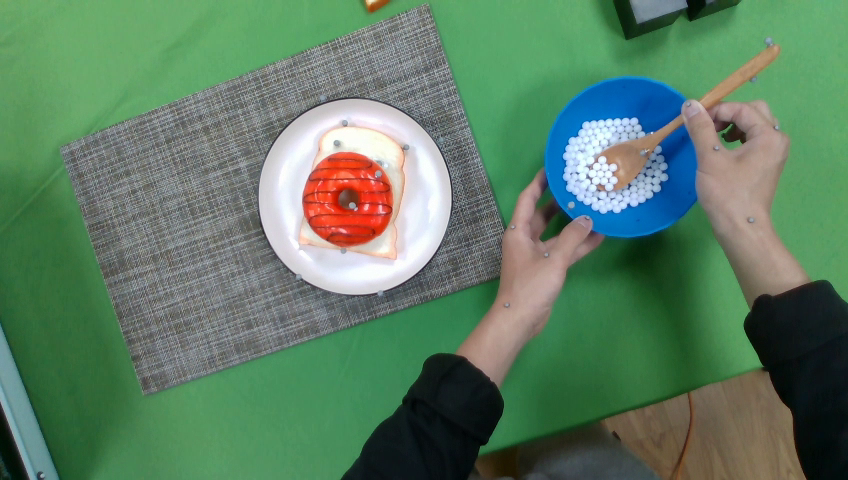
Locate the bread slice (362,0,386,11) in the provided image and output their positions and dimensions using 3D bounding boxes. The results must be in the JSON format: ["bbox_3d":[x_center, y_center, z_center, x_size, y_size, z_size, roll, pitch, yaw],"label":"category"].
[{"bbox_3d":[-0.053,-0.327,0.645,0.105,0.019,0.131,-33,90,5],"label":"bread slice"}]

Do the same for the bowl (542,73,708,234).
[{"bbox_3d":[0.190,-0.080,0.599,0.151,0.077,0.151,0,91,7],"label":"bowl"}]

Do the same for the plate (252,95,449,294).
[{"bbox_3d":[-0.076,-0.046,0.645,0.207,0.039,0.207,0,92,6],"label":"plate"}]

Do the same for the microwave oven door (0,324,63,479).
[{"bbox_3d":[-0.495,0.147,0.578,0.039,0.244,0.355,-21,90,6],"label":"microwave oven door"}]

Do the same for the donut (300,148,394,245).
[{"bbox_3d":[-0.078,-0.044,0.617,0.099,0.048,0.099,0,93,6],"label":"donut"}]

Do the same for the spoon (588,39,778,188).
[{"bbox_3d":[0.230,-0.110,0.552,0.194,0.021,0.041,-40,83,40],"label":"spoon"}]

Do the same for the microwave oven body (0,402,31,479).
[{"bbox_3d":[-0.646,0.160,0.598,0.326,0.260,0.441,-21,91,5],"label":"microwave oven body"}]

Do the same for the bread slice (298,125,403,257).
[{"bbox_3d":[-0.076,-0.054,0.645,0.107,0.018,0.134,6,93,5],"label":"bread slice"}]
